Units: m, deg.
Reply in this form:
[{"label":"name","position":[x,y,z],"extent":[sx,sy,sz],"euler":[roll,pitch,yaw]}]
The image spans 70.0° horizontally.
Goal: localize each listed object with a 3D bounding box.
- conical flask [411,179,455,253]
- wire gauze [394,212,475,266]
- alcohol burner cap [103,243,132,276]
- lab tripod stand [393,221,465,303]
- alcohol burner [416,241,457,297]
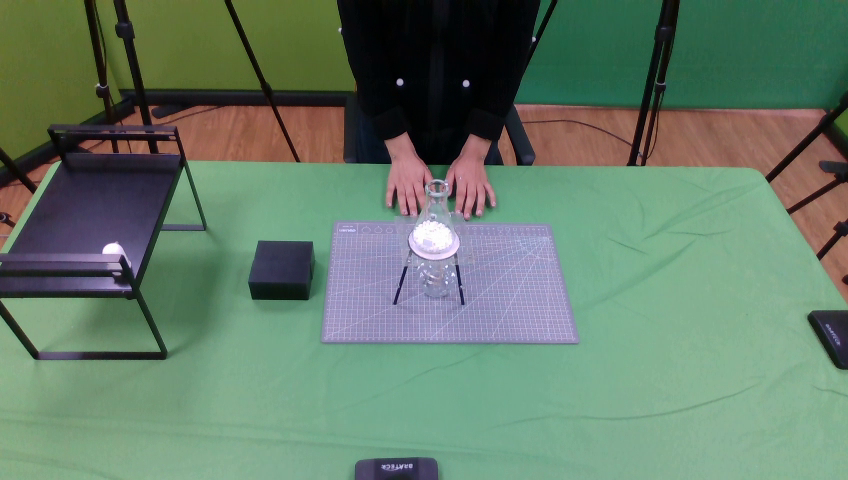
[{"label":"conical flask","position":[0.017,-0.042,0.985],"extent":[0.075,0.122,0.075],"euler":[2,47,-2]},{"label":"wire gauze","position":[0.015,-0.001,1.029],"extent":[0.125,0.011,0.120],"euler":[-5,45,-5]},{"label":"alcohol burner cap","position":[-0.446,0.025,0.875],"extent":[0.034,0.048,0.033],"euler":[3,46,-3]},{"label":"lab tripod stand","position":[0.010,0.045,1.074],"extent":[0.148,0.132,0.147],"euler":[2,48,-2]},{"label":"alcohol burner","position":[0.024,0.047,1.087],"extent":[0.078,0.120,0.077],"euler":[1,47,-1]}]
